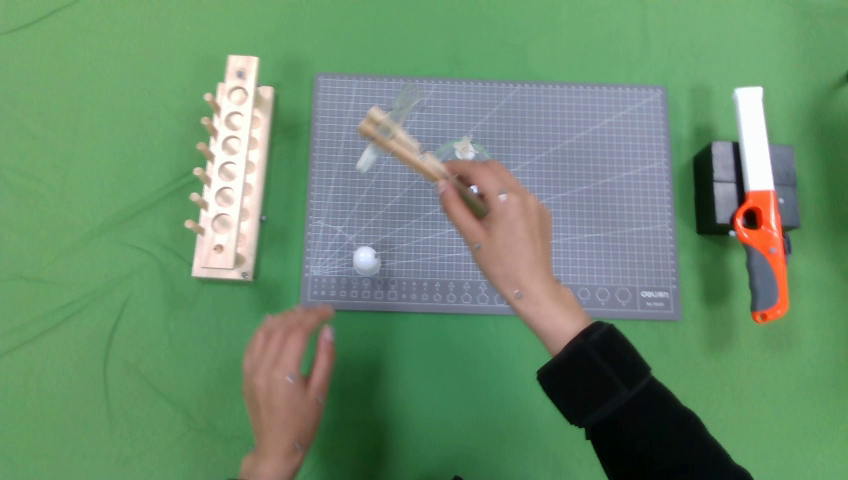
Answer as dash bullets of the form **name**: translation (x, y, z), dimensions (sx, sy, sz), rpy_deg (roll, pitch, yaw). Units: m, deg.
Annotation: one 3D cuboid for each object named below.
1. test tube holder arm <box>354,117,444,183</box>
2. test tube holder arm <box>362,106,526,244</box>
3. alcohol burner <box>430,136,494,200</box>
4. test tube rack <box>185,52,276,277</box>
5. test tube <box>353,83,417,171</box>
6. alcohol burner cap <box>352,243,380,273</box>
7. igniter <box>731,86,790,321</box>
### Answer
- **test tube holder arm**: translation (-0.020, -0.076, 0.519), dimensions (0.088, 0.015, 0.010), rpy_deg (30, 71, -12)
- **test tube holder arm**: translation (0.019, -0.055, 0.529), dimensions (0.179, 0.015, 0.013), rpy_deg (37, 70, -9)
- **alcohol burner**: translation (0.043, -0.087, 0.689), dimensions (0.078, 0.119, 0.077), rpy_deg (0, 79, -1)
- **test tube rack**: translation (-0.226, -0.085, 0.695), dimensions (0.067, 0.085, 0.241), rpy_deg (4, 78, -1)
- **test tube**: translation (-0.037, -0.091, 0.518), dimensions (0.017, 0.150, 0.017), rpy_deg (6, 73, -19)
- **alcohol burner cap**: translation (-0.069, 0.019, 0.699), dimensions (0.034, 0.048, 0.033), rpy_deg (0, 78, -2)
- **igniter**: translation (0.381, -0.045, 0.693), dimensions (0.057, 0.025, 0.275), rpy_deg (-1, 77, 10)
